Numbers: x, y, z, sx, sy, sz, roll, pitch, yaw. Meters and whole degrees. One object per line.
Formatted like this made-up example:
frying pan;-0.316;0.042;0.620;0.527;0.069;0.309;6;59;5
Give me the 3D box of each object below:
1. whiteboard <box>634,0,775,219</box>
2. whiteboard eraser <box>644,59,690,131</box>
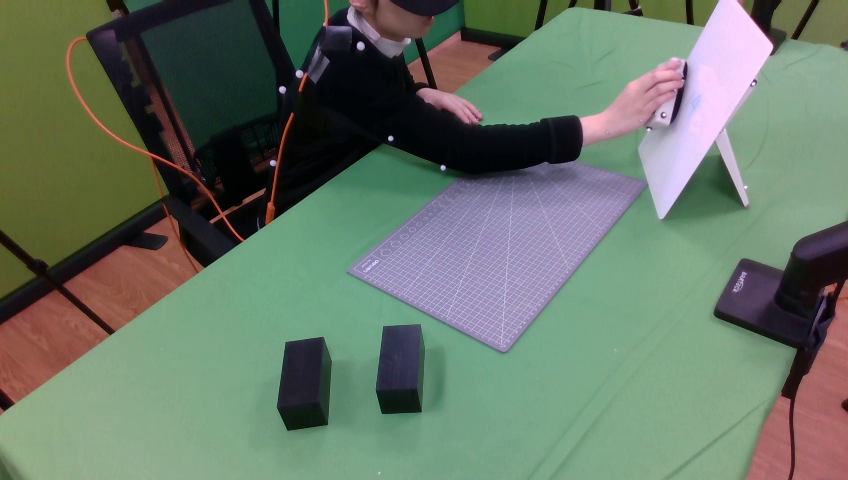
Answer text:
whiteboard;0.485;-0.192;0.956;0.144;0.305;0.216;14;41;-4
whiteboard eraser;0.404;-0.238;1.001;0.042;0.112;0.055;15;1;-11
